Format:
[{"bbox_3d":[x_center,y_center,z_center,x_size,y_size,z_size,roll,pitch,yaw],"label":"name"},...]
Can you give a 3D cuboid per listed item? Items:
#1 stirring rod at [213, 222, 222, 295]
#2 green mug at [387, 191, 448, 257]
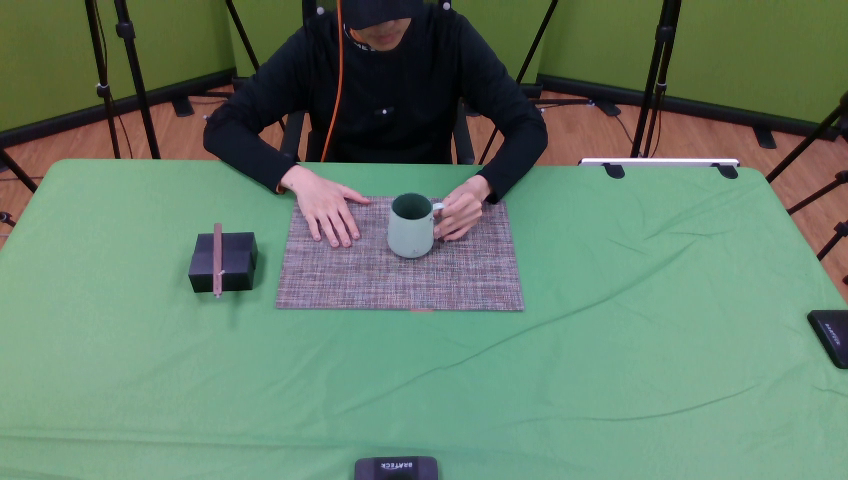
[{"bbox_3d":[-0.368,0.029,1.082,0.014,0.006,0.175,-8,48,-11],"label":"stirring rod"},{"bbox_3d":[-0.011,-0.034,1.165,0.125,0.105,0.092,-20,51,-22],"label":"green mug"}]
